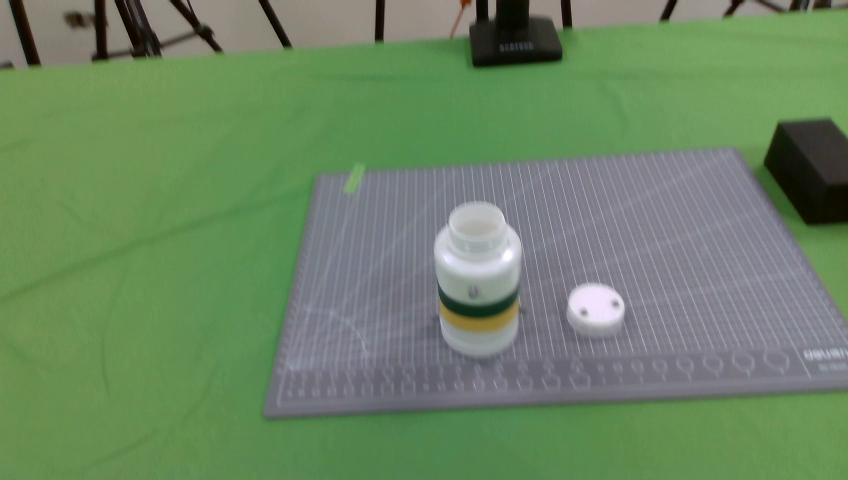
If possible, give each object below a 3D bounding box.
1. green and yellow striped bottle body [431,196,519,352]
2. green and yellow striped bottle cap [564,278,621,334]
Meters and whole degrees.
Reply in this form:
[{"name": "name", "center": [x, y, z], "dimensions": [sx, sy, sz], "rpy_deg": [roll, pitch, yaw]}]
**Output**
[{"name": "green and yellow striped bottle body", "center": [0.038, 0.025, 0.450], "dimensions": [0.063, 0.121, 0.062], "rpy_deg": [-3, 45, 3]}, {"name": "green and yellow striped bottle cap", "center": [0.135, 0.052, 0.488], "dimensions": [0.045, 0.020, 0.045], "rpy_deg": [-3, 46, 3]}]
